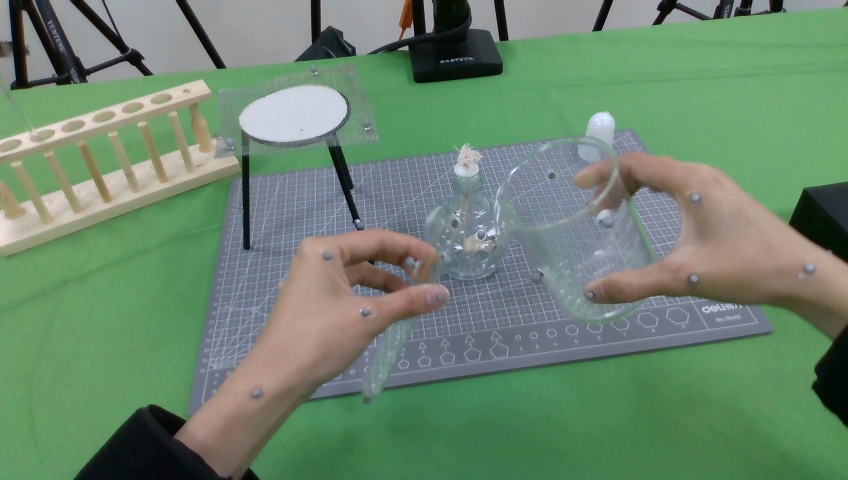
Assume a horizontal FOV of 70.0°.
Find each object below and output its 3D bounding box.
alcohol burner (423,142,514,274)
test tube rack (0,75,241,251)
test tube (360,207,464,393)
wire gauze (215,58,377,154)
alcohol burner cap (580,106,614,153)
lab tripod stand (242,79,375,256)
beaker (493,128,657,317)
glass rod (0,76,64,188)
[{"bbox_3d":[0.037,-0.029,0.508,0.078,0.120,0.077,-3,41,3],"label":"alcohol burner"},{"bbox_3d":[-0.325,-0.084,0.623,0.243,0.086,0.066,-24,46,-20],"label":"test tube rack"},{"bbox_3d":[-0.012,0.043,0.383,0.017,0.151,0.017,19,30,-11],"label":"test tube"},{"bbox_3d":[-0.109,-0.110,0.494,0.125,0.011,0.120,-12,43,-6],"label":"wire gauze"},{"bbox_3d":[0.185,-0.120,0.645,0.034,0.048,0.033,-2,43,2],"label":"alcohol burner cap"},{"bbox_3d":[-0.104,-0.062,0.540,0.148,0.133,0.147,-3,45,3],"label":"lab tripod stand"},{"bbox_3d":[0.096,-0.005,0.376,0.084,0.101,0.073,-37,36,0],"label":"beaker"},{"bbox_3d":[-0.377,-0.118,0.565,0.008,0.201,0.008,-2,47,2],"label":"glass rod"}]
